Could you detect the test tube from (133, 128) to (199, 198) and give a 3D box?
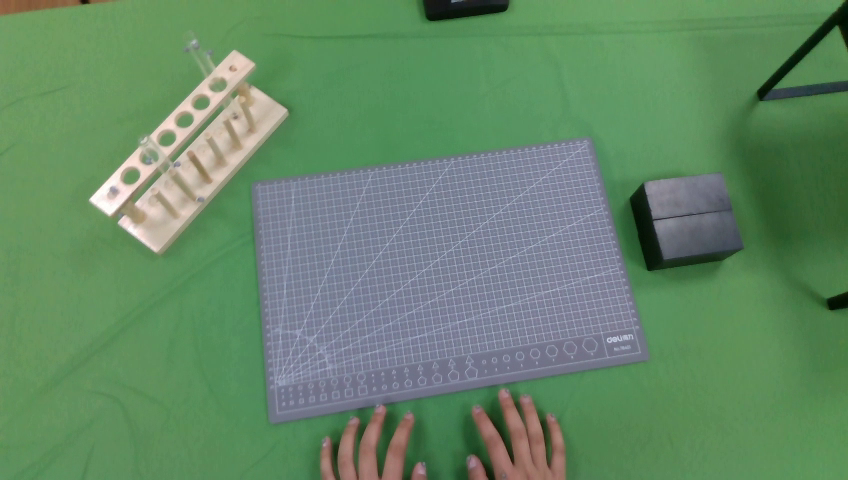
[{"bbox_3d":[-0.288,-0.083,0.682,0.017,0.151,0.017,0,70,1],"label":"test tube"}]

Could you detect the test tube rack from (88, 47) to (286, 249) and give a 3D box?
[{"bbox_3d":[-0.279,-0.111,0.738,0.066,0.085,0.242,35,75,9],"label":"test tube rack"}]

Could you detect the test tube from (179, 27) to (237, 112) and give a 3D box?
[{"bbox_3d":[-0.251,-0.195,0.713,0.017,0.151,0.017,-1,70,2],"label":"test tube"}]
